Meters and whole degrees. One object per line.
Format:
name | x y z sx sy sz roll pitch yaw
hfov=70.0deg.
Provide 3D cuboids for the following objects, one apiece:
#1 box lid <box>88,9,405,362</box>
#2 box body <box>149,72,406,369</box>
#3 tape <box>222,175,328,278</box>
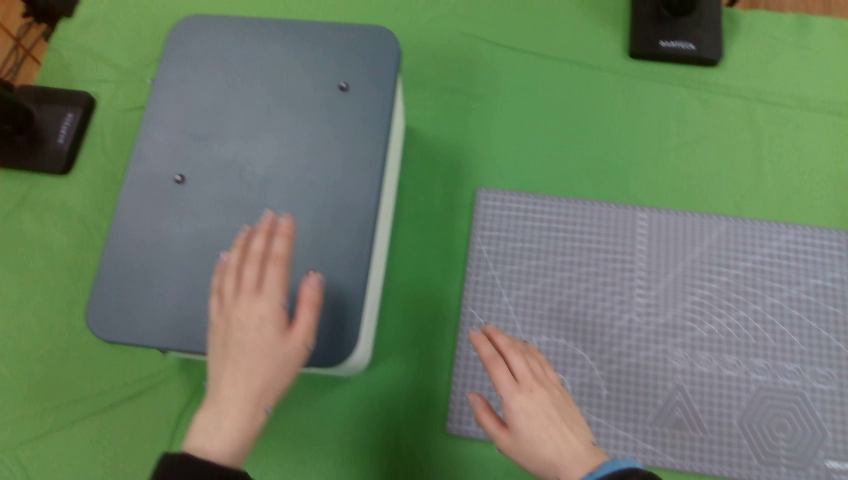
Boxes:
box lid | -0.169 -0.074 0.613 0.263 0.015 0.369 6 73 5
box body | -0.166 -0.048 0.683 0.254 0.161 0.362 6 72 4
tape | -0.176 -0.015 0.723 0.117 0.053 0.116 -2 69 5
